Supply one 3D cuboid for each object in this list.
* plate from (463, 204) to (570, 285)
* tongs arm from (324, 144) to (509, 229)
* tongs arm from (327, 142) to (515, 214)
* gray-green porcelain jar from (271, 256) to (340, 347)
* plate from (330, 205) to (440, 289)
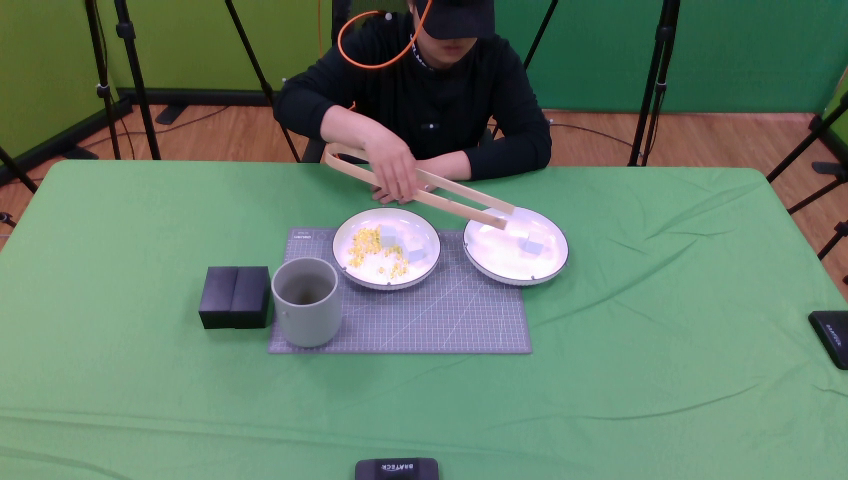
[{"bbox_3d":[0.178,0.012,1.184,0.209,0.038,0.208,3,46,-3],"label":"plate"},{"bbox_3d":[-0.020,-0.104,1.160,0.384,0.026,0.050,19,44,6],"label":"tongs arm"},{"bbox_3d":[-0.009,-0.123,1.184,0.387,0.028,0.028,20,47,7],"label":"tongs arm"},{"bbox_3d":[-0.193,0.107,1.004,0.106,0.127,0.105,2,46,-2],"label":"gray-green porcelain jar"},{"bbox_3d":[-0.074,0.017,1.160,0.208,0.039,0.206,2,46,-2],"label":"plate"}]
